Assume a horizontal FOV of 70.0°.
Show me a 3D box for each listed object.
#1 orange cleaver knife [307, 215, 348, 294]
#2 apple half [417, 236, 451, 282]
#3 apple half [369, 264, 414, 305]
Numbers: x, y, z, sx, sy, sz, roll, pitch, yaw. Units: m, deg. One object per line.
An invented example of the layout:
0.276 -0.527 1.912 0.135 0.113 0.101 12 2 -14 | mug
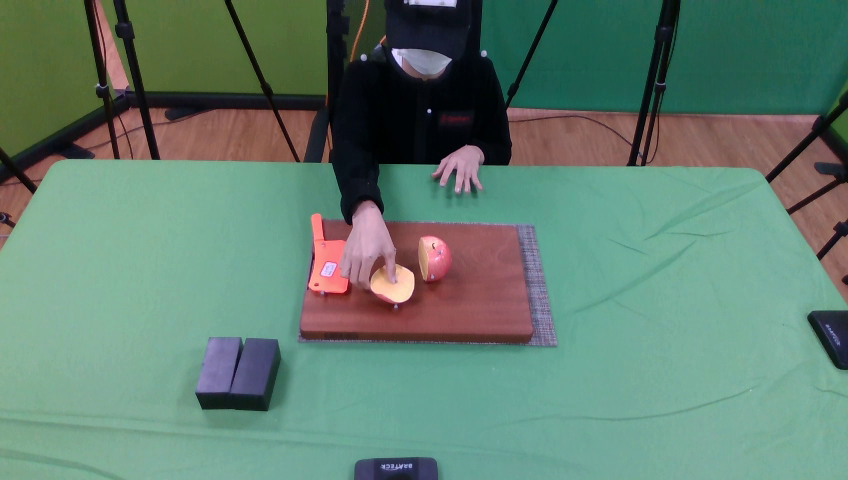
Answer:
-0.180 0.023 1.126 0.077 0.012 0.210 -7 44 -6 | orange cleaver knife
0.020 0.035 1.092 0.053 0.075 0.080 -4 42 -14 | apple half
-0.055 0.082 1.060 0.081 0.033 0.081 6 51 -7 | apple half
